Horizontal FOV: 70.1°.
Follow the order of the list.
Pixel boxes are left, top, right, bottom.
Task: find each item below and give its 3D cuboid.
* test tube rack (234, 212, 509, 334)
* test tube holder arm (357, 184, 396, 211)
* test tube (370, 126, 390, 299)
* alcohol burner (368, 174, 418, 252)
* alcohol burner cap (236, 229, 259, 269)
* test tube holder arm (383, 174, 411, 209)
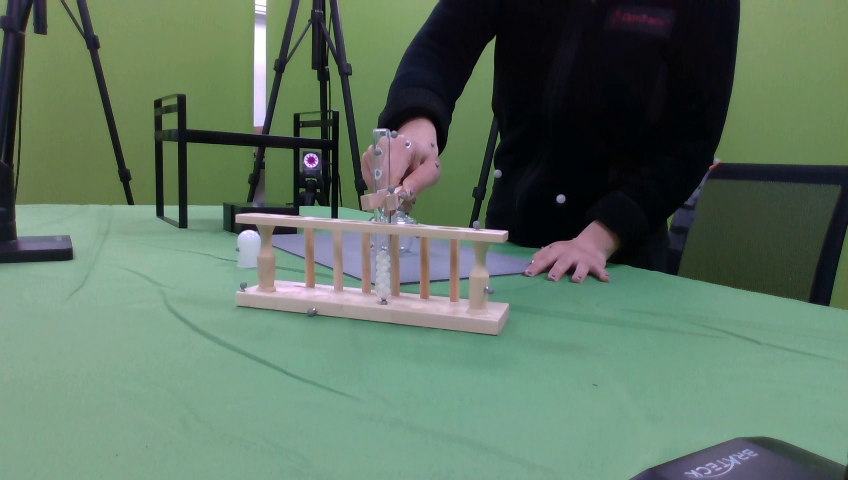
[{"bbox_3d":[-0.047,0.023,0.547,0.242,0.085,0.067,4,7,15],"label":"test tube rack"},{"bbox_3d":[-0.038,-0.040,0.552,0.010,0.015,0.088,-3,11,20],"label":"test tube holder arm"},{"bbox_3d":[-0.038,-0.023,0.525,0.017,0.150,0.017,-1,6,0],"label":"test tube"},{"bbox_3d":[-0.047,-0.041,0.922,0.078,0.119,0.078,1,9,0],"label":"alcohol burner"},{"bbox_3d":[-0.221,0.010,0.759,0.034,0.048,0.034,0,12,0],"label":"alcohol burner cap"},{"bbox_3d":[-0.025,-0.050,0.594,0.013,0.015,0.178,-5,11,6],"label":"test tube holder arm"}]
